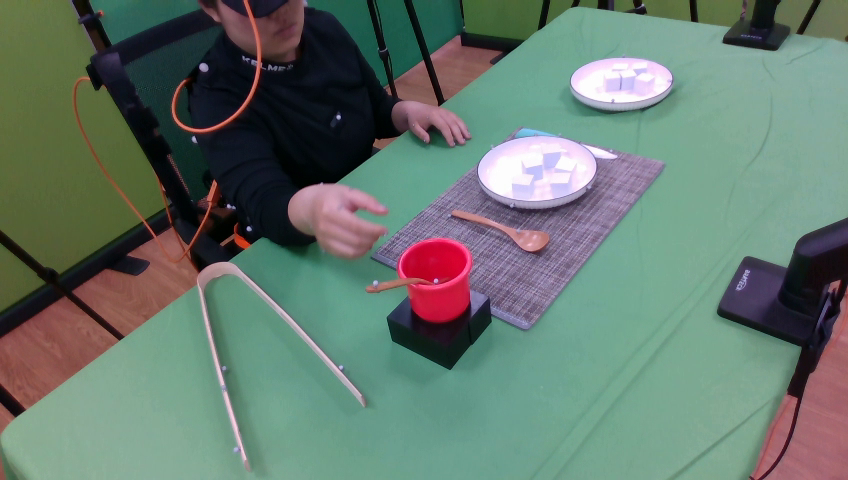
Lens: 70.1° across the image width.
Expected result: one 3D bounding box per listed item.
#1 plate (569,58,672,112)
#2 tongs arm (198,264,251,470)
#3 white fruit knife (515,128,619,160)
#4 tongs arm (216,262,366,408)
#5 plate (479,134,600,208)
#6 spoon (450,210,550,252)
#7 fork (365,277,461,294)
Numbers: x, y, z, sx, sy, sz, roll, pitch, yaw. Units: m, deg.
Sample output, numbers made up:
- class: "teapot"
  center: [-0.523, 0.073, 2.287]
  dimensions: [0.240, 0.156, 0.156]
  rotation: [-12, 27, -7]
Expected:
- class: "plate"
  center: [0.411, -0.323, 1.274]
  dimensions: [0.209, 0.038, 0.208]
  rotation: [-5, 41, 5]
- class: "tongs arm"
  center: [-0.270, 0.154, 0.840]
  dimensions: [0.051, 0.026, 0.381]
  rotation: [-23, 40, -18]
- class: "white fruit knife"
  center: [0.269, -0.182, 1.148]
  dimensions: [0.206, 0.016, 0.027]
  rotation: [21, 78, 29]
- class: "tongs arm"
  center: [-0.201, 0.123, 0.872]
  dimensions: [0.028, 0.028, 0.384]
  rotation: [-35, 46, -25]
- class: "plate"
  center: [0.202, -0.117, 1.065]
  dimensions: [0.207, 0.039, 0.206]
  rotation: [-5, 40, 5]
- class: "spoon"
  center: [0.119, -0.022, 0.979]
  dimensions: [0.192, 0.022, 0.041]
  rotation: [24, 68, 33]
- class: "fork"
  center: [-0.009, 0.056, 0.744]
  dimensions: [0.028, 0.018, 0.209]
  rotation: [26, 9, 28]
